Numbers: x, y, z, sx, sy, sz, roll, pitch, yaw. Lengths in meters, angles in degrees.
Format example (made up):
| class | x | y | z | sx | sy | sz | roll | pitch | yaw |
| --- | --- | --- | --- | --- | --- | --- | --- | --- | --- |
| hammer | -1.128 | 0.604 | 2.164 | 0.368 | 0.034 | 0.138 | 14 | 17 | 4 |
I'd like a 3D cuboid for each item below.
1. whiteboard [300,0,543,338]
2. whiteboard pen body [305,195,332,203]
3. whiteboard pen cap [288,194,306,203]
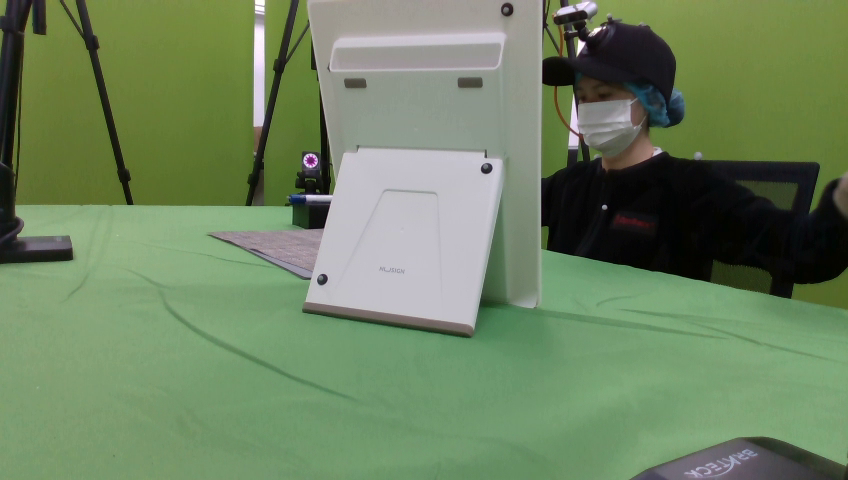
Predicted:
| class | x | y | z | sx | sy | sz | roll | pitch | yaw |
| --- | --- | --- | --- | --- | --- | --- | --- | --- | --- |
| whiteboard | -0.020 | -0.050 | 0.523 | 0.216 | 0.305 | 0.144 | 6 | 27 | 22 |
| whiteboard pen body | -0.201 | -0.084 | 1.237 | 0.141 | 0.017 | 0.017 | -2 | 9 | -33 |
| whiteboard pen cap | -0.253 | -0.083 | 1.204 | 0.033 | 0.018 | 0.018 | -4 | 10 | -34 |
